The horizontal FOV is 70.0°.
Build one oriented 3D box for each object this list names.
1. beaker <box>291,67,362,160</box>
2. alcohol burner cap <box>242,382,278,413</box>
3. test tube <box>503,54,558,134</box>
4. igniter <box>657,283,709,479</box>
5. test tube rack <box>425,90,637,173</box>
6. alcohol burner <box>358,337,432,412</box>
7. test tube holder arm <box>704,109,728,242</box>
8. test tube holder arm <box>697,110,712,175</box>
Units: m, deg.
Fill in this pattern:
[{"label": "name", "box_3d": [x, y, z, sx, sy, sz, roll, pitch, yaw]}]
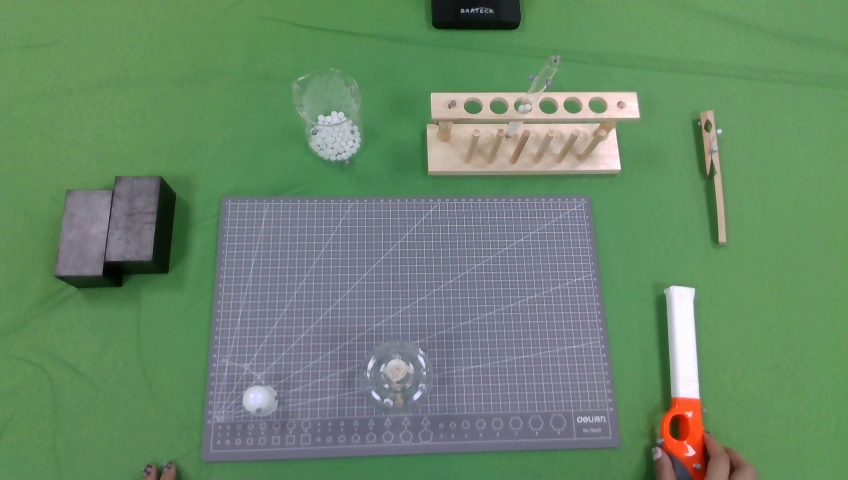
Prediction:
[{"label": "beaker", "box_3d": [-0.113, -0.146, 0.716, 0.084, 0.101, 0.073, 26, 72, 6]}, {"label": "alcohol burner cap", "box_3d": [-0.174, 0.165, 0.640, 0.034, 0.048, 0.033, 1, 72, -3]}, {"label": "test tube", "box_3d": [0.118, -0.161, 0.690, 0.017, 0.151, 0.017, 3, 71, -9]}, {"label": "igniter", "box_3d": [0.287, 0.184, 0.676, 0.057, 0.025, 0.275, 7, 72, -8]}, {"label": "test tube rack", "box_3d": [0.125, -0.130, 0.734, 0.243, 0.085, 0.066, -1, 72, -4]}, {"label": "alcohol burner", "box_3d": [-0.029, 0.135, 0.621, 0.078, 0.119, 0.077, 2, 70, -4]}, {"label": "test tube holder arm", "box_3d": [0.369, -0.084, 0.769, 0.013, 0.015, 0.177, -11, 70, 29]}, {"label": "test tube holder arm", "box_3d": [0.364, -0.126, 0.785, 0.010, 0.015, 0.087, -9, 71, 30]}]
